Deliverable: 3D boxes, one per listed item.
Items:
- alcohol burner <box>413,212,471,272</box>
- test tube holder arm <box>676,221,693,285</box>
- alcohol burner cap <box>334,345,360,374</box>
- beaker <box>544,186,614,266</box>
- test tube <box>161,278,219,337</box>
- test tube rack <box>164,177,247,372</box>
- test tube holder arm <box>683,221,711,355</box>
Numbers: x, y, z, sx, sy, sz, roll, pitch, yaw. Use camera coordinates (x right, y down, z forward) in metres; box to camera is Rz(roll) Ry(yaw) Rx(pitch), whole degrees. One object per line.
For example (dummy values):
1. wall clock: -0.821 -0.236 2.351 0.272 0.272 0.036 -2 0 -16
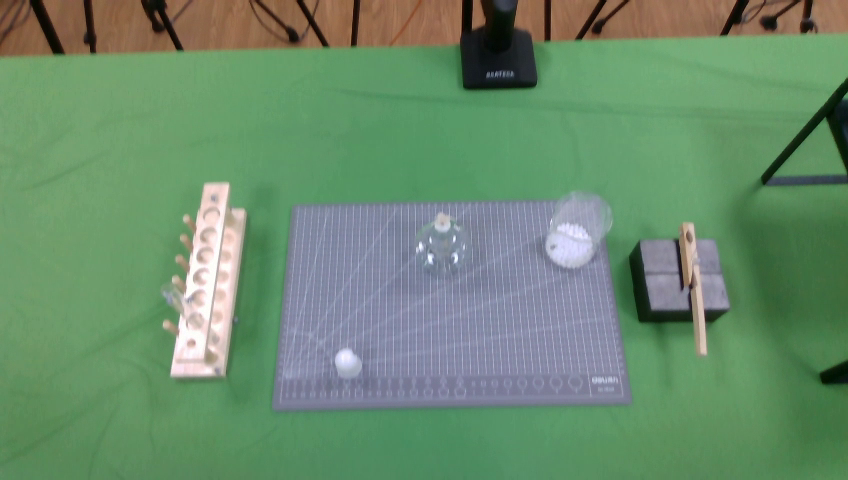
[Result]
1. alcohol burner: 0.024 -0.005 0.796 0.078 0.120 0.077 -1 65 2
2. test tube holder arm: 0.340 0.017 0.788 0.010 0.015 0.087 1 66 2
3. alcohol burner cap: -0.099 0.148 0.763 0.034 0.048 0.033 1 64 -1
4. beaker: 0.200 -0.013 0.808 0.084 0.101 0.073 -22 66 -9
5. test tube: -0.274 0.083 0.718 0.017 0.151 0.017 -1 60 2
6. test tube rack: -0.289 0.043 0.792 0.067 0.086 0.240 -1 65 0
7. test tube holder arm: 0.345 0.058 0.770 0.013 0.015 0.177 0 66 2
